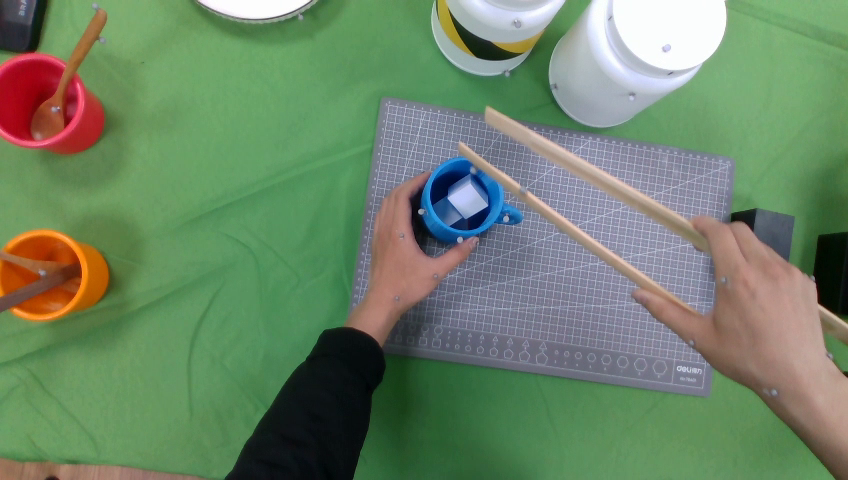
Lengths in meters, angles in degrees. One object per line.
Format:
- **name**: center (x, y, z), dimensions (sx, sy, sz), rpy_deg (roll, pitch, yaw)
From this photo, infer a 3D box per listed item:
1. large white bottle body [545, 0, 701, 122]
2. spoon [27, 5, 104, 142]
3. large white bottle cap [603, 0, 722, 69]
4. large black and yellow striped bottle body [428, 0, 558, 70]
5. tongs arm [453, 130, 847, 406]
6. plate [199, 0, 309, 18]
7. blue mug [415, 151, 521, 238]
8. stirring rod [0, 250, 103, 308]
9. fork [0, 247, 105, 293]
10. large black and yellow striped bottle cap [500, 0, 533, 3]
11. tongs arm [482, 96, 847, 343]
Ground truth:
- **large white bottle body**: center (0.220, -0.215, 0.663), dimensions (0.131, 0.184, 0.130), rpy_deg (0, 86, -6)
- **spoon**: center (-0.366, -0.166, 0.617), dimensions (0.194, 0.021, 0.041), rpy_deg (-37, 87, 37)
- **large white bottle cap**: center (0.229, -0.222, 0.579), dimensions (0.115, 0.018, 0.114), rpy_deg (0, 87, -7)
- **large black and yellow striped bottle body**: center (0.077, -0.274, 0.650), dimensions (0.131, 0.184, 0.130), rpy_deg (0, 86, -6)
- **tongs arm**: center (0.185, 0.011, 0.495), dimensions (0.383, 0.027, 0.050), rpy_deg (40, 79, 13)
- **plate**: center (-0.197, -0.354, 0.698), dimensions (0.208, 0.039, 0.207), rpy_deg (0, 87, -6)
- **blue mug**: center (0.051, -0.043, 0.673), dimensions (0.117, 0.106, 0.082), rpy_deg (15, 85, -5)
- **stirring rod**: center (-0.403, 0.051, 0.604), dimensions (0.014, 0.006, 0.176), rpy_deg (56, 41, -4)
- **fork**: center (-0.420, 0.010, 0.599), dimensions (0.209, 0.018, 0.028), rpy_deg (33, 80, -47)
- **large black and yellow striped bottle cap**: center (0.085, -0.282, 0.568), dimensions (0.115, 0.019, 0.115), rpy_deg (0, 88, -7)
- **tongs arm**: center (0.202, -0.010, 0.500), dimensions (0.386, 0.028, 0.028), rpy_deg (37, 75, 12)
